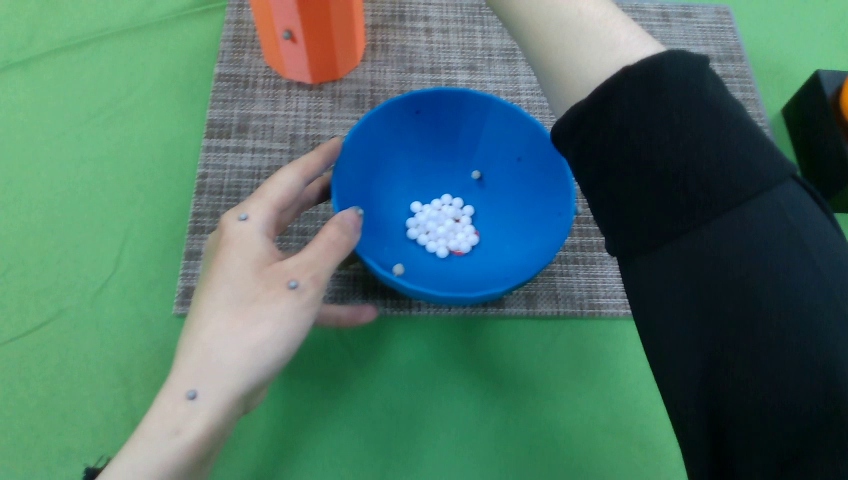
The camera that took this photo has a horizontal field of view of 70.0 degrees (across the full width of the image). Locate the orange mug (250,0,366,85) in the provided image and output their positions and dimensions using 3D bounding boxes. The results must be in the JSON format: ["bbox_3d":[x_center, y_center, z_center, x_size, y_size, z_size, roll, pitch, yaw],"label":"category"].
[{"bbox_3d":[-0.086,-0.201,0.472,0.083,0.101,0.125,11,69,2],"label":"orange mug"}]

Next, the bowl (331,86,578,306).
[{"bbox_3d":[0.017,-0.018,0.400,0.151,0.077,0.150,2,64,-3],"label":"bowl"}]
